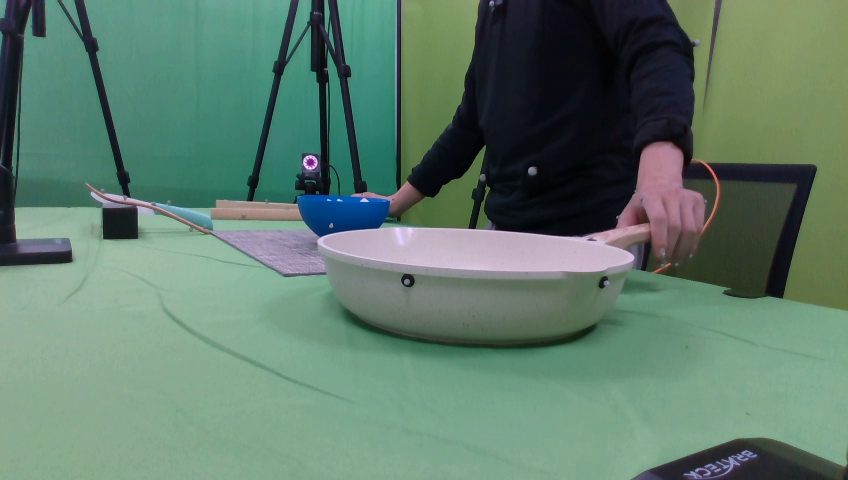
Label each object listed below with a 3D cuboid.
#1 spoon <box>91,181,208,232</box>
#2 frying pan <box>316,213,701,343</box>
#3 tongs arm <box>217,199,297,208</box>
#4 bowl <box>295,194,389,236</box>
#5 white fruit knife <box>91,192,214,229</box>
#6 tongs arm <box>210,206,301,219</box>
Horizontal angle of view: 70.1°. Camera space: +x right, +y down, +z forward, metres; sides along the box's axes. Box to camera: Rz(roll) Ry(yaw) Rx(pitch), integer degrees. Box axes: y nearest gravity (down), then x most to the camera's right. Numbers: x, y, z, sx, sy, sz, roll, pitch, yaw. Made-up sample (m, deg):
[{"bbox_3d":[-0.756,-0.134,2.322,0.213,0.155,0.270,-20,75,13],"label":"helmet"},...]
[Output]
[{"bbox_3d":[-0.461,-0.053,1.023,0.195,0.021,0.041,21,22,-24],"label":"spoon"},{"bbox_3d":[0.133,0.013,0.629,0.490,0.102,0.305,-12,14,-30],"label":"frying pan"},{"bbox_3d":[-0.306,-0.076,1.470,0.386,0.026,0.050,2,7,-11],"label":"tongs arm"},{"bbox_3d":[-0.132,-0.032,0.980,0.151,0.077,0.151,2,7,0],"label":"bowl"},{"bbox_3d":[-0.477,-0.055,1.077,0.208,0.027,0.016,15,-5,-30],"label":"white fruit knife"},{"bbox_3d":[-0.287,-0.062,1.393,0.389,0.028,0.028,0,5,-23],"label":"tongs arm"}]
